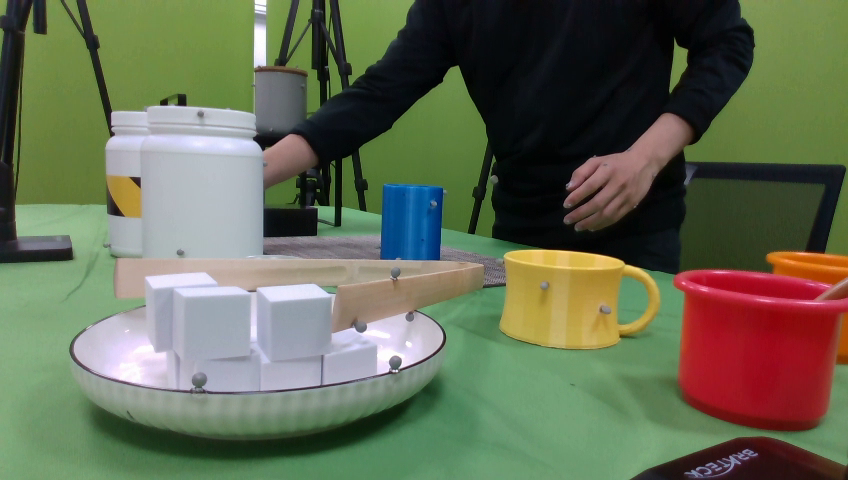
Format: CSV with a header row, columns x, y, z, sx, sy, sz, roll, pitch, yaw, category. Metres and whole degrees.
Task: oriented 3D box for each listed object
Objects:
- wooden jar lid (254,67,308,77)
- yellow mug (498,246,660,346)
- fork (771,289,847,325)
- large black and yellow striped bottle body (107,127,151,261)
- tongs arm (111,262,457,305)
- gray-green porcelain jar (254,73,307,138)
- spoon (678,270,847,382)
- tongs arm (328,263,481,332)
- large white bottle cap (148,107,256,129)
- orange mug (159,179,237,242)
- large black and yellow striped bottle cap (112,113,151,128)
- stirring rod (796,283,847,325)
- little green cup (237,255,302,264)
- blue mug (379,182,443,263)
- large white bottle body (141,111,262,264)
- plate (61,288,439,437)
x,y,z,sx,sy,sz,roll,pitch,yaw,category
-0.296,-0.339,1.251,0.108,0.020,0.108,1,7,0,wooden jar lid
0.130,0.045,0.508,0.131,0.064,0.100,4,7,6,yellow mug
0.335,0.018,0.443,0.028,0.018,0.207,-1,-36,-20,fork
-0.351,-0.071,0.811,0.131,0.184,0.130,2,8,0,large black and yellow striped bottle body
-0.080,0.033,0.527,0.028,0.027,0.389,-4,-4,33,tongs arm
-0.298,-0.277,1.259,0.106,0.126,0.106,3,8,0,gray-green porcelain jar
0.229,0.031,0.338,0.193,0.021,0.042,-44,-17,27,spoon
-0.003,0.036,0.492,0.050,0.026,0.386,1,-1,19,tongs arm
-0.250,-0.137,0.686,0.115,0.018,0.115,3,8,0,large white bottle cap
-0.368,-0.052,0.991,0.127,0.101,0.083,-10,14,-41,orange mug
-0.349,-0.154,0.799,0.115,0.019,0.115,2,6,0,large black and yellow striped bottle cap
0.347,0.019,0.460,0.014,0.176,0.006,-17,59,-26,stirring rod
-0.150,0.038,0.590,0.061,0.038,0.061,3,6,0,little green cup
-0.020,-0.026,0.833,0.082,0.106,0.116,1,7,-7,blue mug
-0.254,-0.053,0.697,0.131,0.184,0.130,2,7,0,large white bottle body
-0.095,0.069,0.362,0.208,0.039,0.207,3,7,0,plate
